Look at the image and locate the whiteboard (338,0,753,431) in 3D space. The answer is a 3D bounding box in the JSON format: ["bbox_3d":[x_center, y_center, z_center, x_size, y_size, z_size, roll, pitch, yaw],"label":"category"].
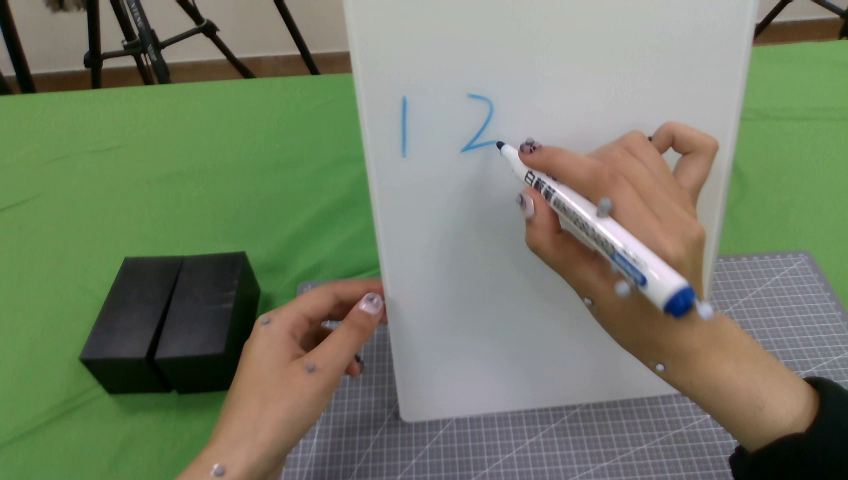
[{"bbox_3d":[0.074,-0.040,0.429,0.217,0.308,0.142,-6,27,0],"label":"whiteboard"}]

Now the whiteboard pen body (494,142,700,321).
[{"bbox_3d":[0.074,-0.012,0.291,0.017,0.017,0.139,-24,48,-18],"label":"whiteboard pen body"}]
